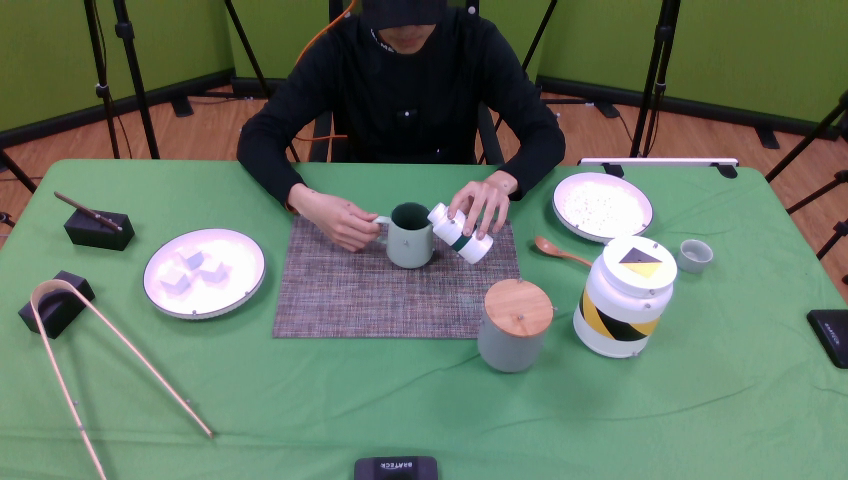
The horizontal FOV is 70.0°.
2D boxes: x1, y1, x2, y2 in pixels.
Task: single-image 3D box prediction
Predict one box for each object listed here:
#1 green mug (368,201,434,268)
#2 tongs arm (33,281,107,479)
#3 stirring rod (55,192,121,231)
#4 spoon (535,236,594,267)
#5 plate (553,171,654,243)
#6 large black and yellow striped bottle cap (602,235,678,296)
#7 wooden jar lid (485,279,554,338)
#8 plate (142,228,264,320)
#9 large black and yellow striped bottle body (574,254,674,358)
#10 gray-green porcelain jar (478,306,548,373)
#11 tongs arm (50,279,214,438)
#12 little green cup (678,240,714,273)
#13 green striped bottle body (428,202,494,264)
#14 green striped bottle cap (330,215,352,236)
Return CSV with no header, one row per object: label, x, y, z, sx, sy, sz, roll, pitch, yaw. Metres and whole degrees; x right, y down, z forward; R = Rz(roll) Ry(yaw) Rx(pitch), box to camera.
green mug,-0.043,-0.011,1.140,0.125,0.105,0.092,7,47,3
tongs arm,-0.517,0.214,0.909,0.051,0.026,0.383,-29,63,-27
stirring rod,-0.632,-0.055,1.138,0.175,0.014,0.006,24,50,19
spoon,0.303,0.040,1.178,0.193,0.022,0.041,25,30,19
plate,0.373,-0.066,1.275,0.209,0.038,0.208,2,46,-2
large black and yellow striped bottle cap,0.340,0.037,0.955,0.115,0.019,0.114,2,47,-1
wooden jar lid,0.147,0.108,0.940,0.108,0.021,0.107,4,47,-4
plate,-0.394,0.064,1.095,0.208,0.039,0.206,2,46,-2
large black and yellow striped bottle body,0.335,0.096,1.014,0.131,0.185,0.130,2,46,-2
gray-green porcelain jar,0.144,0.148,0.989,0.106,0.127,0.105,2,50,-2
tongs arm,-0.459,0.178,0.949,0.386,0.028,0.028,37,60,17
little green cup,0.530,0.033,1.190,0.061,0.039,0.061,2,46,-1
green striped bottle body,0.064,-0.016,1.093,0.119,0.063,0.063,41,50,-8
green striped bottle cap,-0.166,-0.029,1.213,0.044,0.020,0.044,1,50,-1
